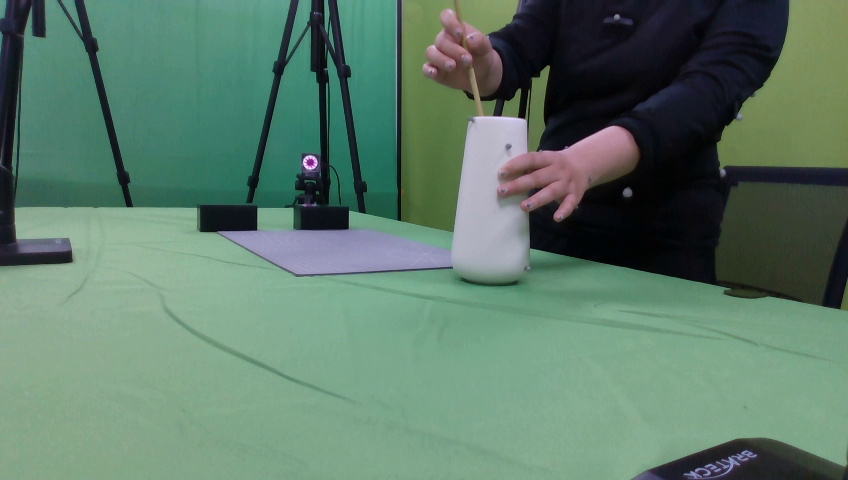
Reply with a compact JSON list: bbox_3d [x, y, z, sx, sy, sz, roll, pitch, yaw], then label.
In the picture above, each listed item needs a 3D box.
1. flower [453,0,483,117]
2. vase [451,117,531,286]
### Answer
[{"bbox_3d":[0.048,-0.240,0.718,0.044,0.361,0.038,-12,9,5],"label":"flower"},{"bbox_3d":[0.084,-0.047,0.737,0.098,0.200,0.098,1,6,0],"label":"vase"}]
